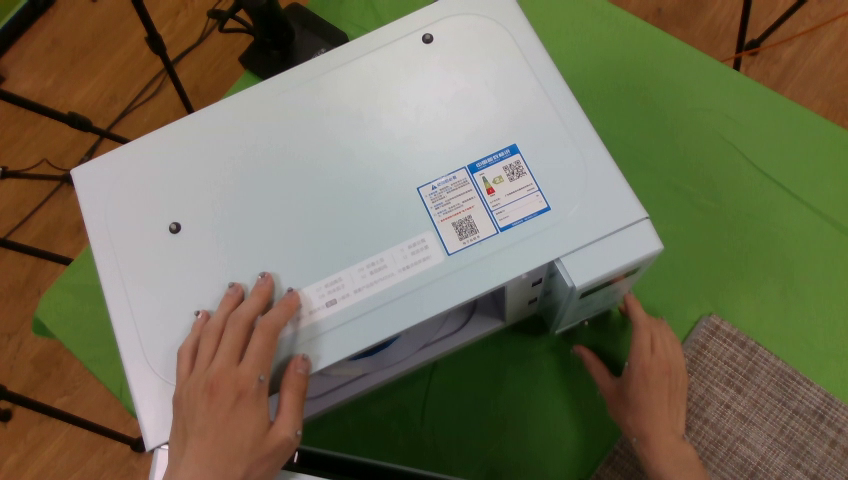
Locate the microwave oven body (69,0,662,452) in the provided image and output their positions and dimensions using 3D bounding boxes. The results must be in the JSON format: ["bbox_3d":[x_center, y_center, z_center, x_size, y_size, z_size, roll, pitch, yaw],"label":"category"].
[{"bbox_3d":[-0.057,-0.008,0.631,0.442,0.262,0.323,-26,72,-1],"label":"microwave oven body"}]

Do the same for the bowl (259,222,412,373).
[{"bbox_3d":[-0.087,0.064,0.630,0.151,0.077,0.150,1,76,-3],"label":"bowl"}]

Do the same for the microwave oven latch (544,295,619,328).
[{"bbox_3d":[0.176,0.071,0.680,0.079,0.030,0.030,-23,72,0],"label":"microwave oven latch"}]

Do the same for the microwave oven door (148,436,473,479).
[{"bbox_3d":[-0.025,0.230,0.548,0.355,0.245,0.039,8,73,9],"label":"microwave oven door"}]
